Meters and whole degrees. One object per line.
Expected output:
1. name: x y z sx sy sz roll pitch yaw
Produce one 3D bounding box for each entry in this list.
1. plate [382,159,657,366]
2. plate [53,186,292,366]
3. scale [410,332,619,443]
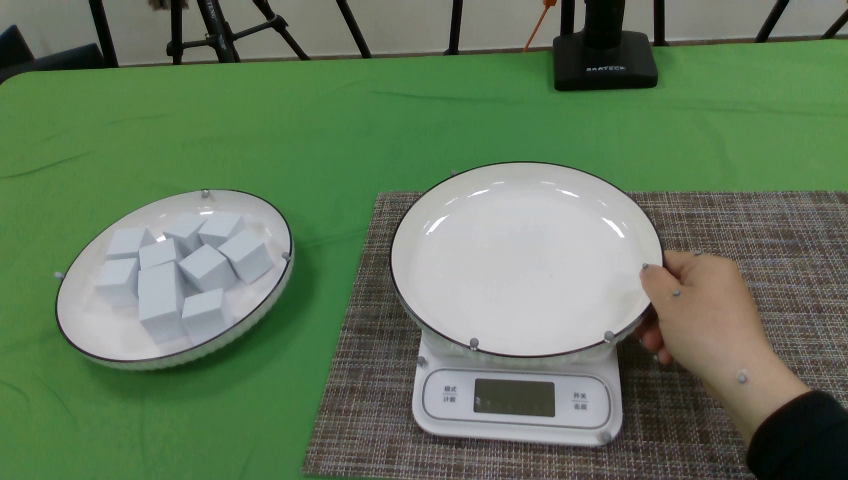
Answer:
1. plate: 0.072 0.015 0.479 0.207 0.039 0.205 -3 46 4
2. plate: -0.221 0.031 0.552 0.209 0.038 0.207 -4 45 4
3. scale: 0.072 0.059 0.482 0.148 0.032 0.199 1 46 10
